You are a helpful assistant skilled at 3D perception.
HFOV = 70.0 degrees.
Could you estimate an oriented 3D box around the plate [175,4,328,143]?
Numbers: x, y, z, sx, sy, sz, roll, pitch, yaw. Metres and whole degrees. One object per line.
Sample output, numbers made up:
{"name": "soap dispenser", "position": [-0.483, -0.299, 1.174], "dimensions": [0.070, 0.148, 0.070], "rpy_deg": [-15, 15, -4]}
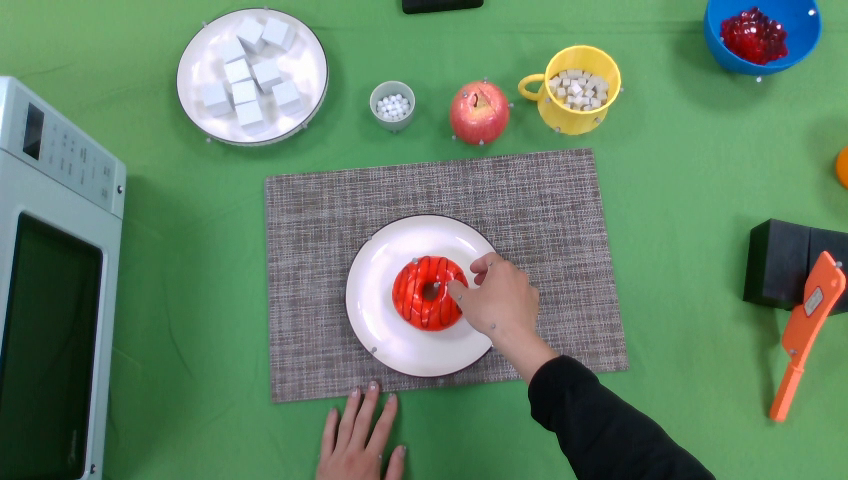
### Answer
{"name": "plate", "position": [-0.236, -0.229, 0.844], "dimensions": [0.208, 0.039, 0.206], "rpy_deg": [0, 76, 1]}

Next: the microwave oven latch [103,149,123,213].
{"name": "microwave oven latch", "position": [-0.413, -0.077, 0.789], "dimensions": [0.030, 0.029, 0.079], "rpy_deg": [-1, 77, 0]}

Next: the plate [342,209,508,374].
{"name": "plate", "position": [0.001, 0.064, 0.768], "dimensions": [0.209, 0.038, 0.208], "rpy_deg": [0, 77, 1]}

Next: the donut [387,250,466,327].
{"name": "donut", "position": [0.004, 0.061, 0.757], "dimensions": [0.099, 0.048, 0.098], "rpy_deg": [0, 78, 1]}

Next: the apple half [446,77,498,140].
{"name": "apple half", "position": [0.058, -0.167, 0.810], "dimensions": [0.053, 0.075, 0.080], "rpy_deg": [-32, 81, -2]}

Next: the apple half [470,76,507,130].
{"name": "apple half", "position": [0.091, -0.188, 0.813], "dimensions": [0.033, 0.081, 0.081], "rpy_deg": [-32, 78, -2]}

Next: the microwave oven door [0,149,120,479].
{"name": "microwave oven door", "position": [-0.408, 0.111, 0.640], "dimensions": [0.039, 0.245, 0.354], "rpy_deg": [-3, 76, 0]}

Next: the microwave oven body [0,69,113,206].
{"name": "microwave oven body", "position": [-0.555, 0.077, 0.654], "dimensions": [0.326, 0.261, 0.439], "rpy_deg": [-2, 77, -1]}

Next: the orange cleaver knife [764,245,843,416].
{"name": "orange cleaver knife", "position": [0.449, 0.111, 0.730], "dimensions": [0.012, 0.077, 0.212], "rpy_deg": [13, 109, 6]}

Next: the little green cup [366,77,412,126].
{"name": "little green cup", "position": [-0.047, -0.188, 0.833], "dimensions": [0.061, 0.039, 0.061], "rpy_deg": [0, 76, 1]}

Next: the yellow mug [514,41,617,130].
{"name": "yellow mug", "position": [0.187, -0.209, 0.822], "dimensions": [0.131, 0.064, 0.099], "rpy_deg": [5, 76, 3]}

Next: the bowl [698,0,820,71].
{"name": "bowl", "position": [0.444, -0.291, 0.833], "dimensions": [0.151, 0.077, 0.150], "rpy_deg": [0, 77, 1]}

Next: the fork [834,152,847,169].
{"name": "fork", "position": [0.633, -0.117, 0.753], "dimensions": [0.206, 0.019, 0.028], "rpy_deg": [-10, 68, 43]}
